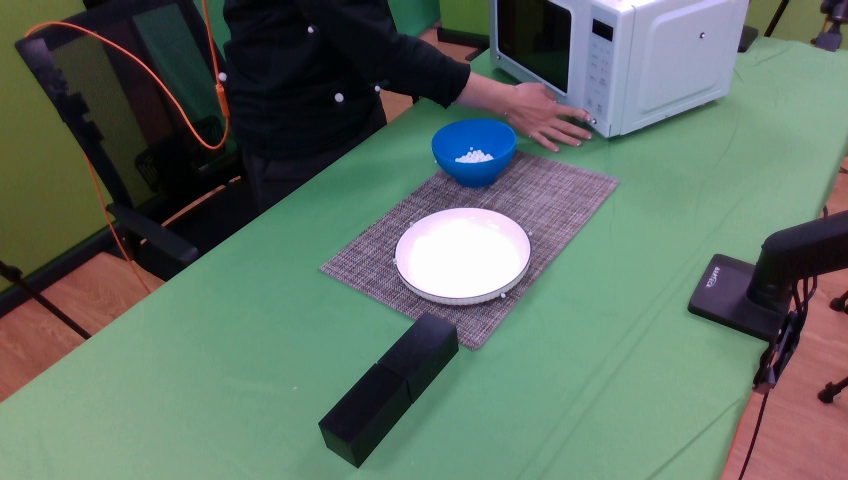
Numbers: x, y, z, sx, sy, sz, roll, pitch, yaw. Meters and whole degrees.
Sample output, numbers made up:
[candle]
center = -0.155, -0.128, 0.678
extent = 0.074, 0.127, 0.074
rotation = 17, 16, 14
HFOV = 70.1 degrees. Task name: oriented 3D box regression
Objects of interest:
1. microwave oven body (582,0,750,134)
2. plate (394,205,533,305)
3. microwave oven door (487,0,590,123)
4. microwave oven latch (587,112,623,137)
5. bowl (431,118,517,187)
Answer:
[microwave oven body]
center = 0.382, -0.444, 1.246
extent = 0.327, 0.261, 0.437
rotation = -22, 42, -16
[plate]
center = 0.060, 0.025, 0.915
extent = 0.207, 0.039, 0.206
rotation = -4, 41, 4
[microwave oven door]
center = 0.232, -0.420, 1.231
extent = 0.039, 0.245, 0.352
rotation = -22, 43, -16
[microwave oven latch]
center = 0.340, -0.222, 1.142
extent = 0.030, 0.029, 0.078
rotation = -18, 41, -10
[bowl]
center = 0.091, -0.147, 1.080
extent = 0.151, 0.077, 0.150
rotation = -4, 40, 4
